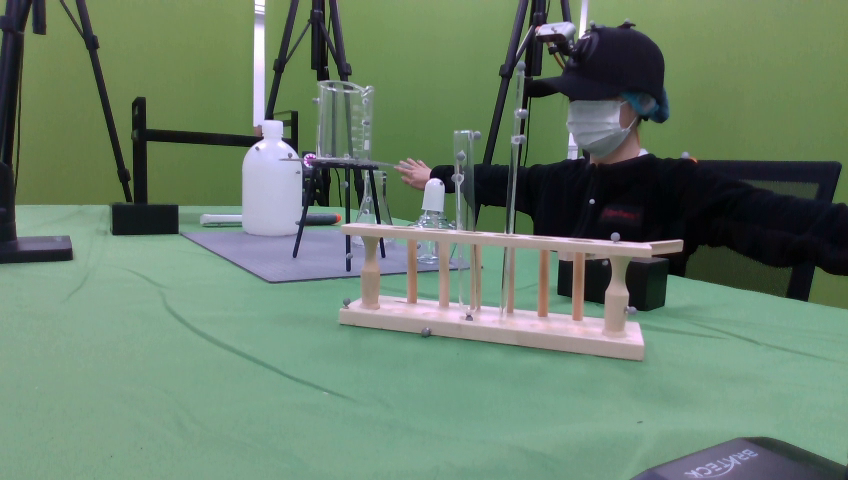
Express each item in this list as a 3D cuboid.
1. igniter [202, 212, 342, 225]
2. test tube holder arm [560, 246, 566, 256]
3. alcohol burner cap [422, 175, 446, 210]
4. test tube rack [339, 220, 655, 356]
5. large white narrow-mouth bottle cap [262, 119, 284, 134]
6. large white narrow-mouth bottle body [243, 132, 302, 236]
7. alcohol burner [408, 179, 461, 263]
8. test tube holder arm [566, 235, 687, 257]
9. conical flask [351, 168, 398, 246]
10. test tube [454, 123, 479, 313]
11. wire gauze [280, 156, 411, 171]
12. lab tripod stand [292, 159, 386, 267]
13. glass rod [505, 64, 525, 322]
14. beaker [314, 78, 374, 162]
[{"bbox_3d":[-0.298,-0.044,1.216,0.278,0.025,0.057,-3,-2,-32],"label":"igniter"},{"bbox_3d":[0.173,0.007,0.611,0.088,0.015,0.010,-3,9,-30],"label":"test tube holder arm"},{"bbox_3d":[0.016,-0.065,0.830,0.034,0.048,0.034,7,4,0],"label":"alcohol burner cap"},{"bbox_3d":[0.056,0.032,0.495,0.242,0.085,0.067,4,7,15],"label":"test tube rack"},{"bbox_3d":[-0.262,-0.196,1.048,0.038,0.024,0.037,2,8,0],"label":"large white narrow-mouth bottle cap"},{"bbox_3d":[-0.265,-0.109,1.061,0.102,0.194,0.102,2,8,0],"label":"large white narrow-mouth bottle body"},{"bbox_3d":[0.014,-0.029,0.834,0.078,0.119,0.078,0,6,0],"label":"alcohol burner"},{"bbox_3d":[0.215,0.006,0.630,0.179,0.015,0.013,-3,9,-30],"label":"test tube holder arm"},{"bbox_3d":[-0.078,-0.053,0.962,0.075,0.122,0.075,2,7,0],"label":"conical flask"},{"bbox_3d":[0.034,-0.016,0.477,0.017,0.150,0.017,-2,9,1],"label":"test tube"},{"bbox_3d":[-0.103,-0.103,0.785,0.121,0.011,0.126,11,8,42],"label":"wire gauze"},{"bbox_3d":[-0.105,-0.039,0.797,0.148,0.131,0.148,2,5,0],"label":"lab tripod stand"},{"bbox_3d":[0.069,-0.030,0.458,0.008,0.199,0.008,0,15,0],"label":"glass rod"},{"bbox_3d":[-0.101,-0.151,0.775,0.074,0.100,0.083,-2,8,-39],"label":"beaker"}]
